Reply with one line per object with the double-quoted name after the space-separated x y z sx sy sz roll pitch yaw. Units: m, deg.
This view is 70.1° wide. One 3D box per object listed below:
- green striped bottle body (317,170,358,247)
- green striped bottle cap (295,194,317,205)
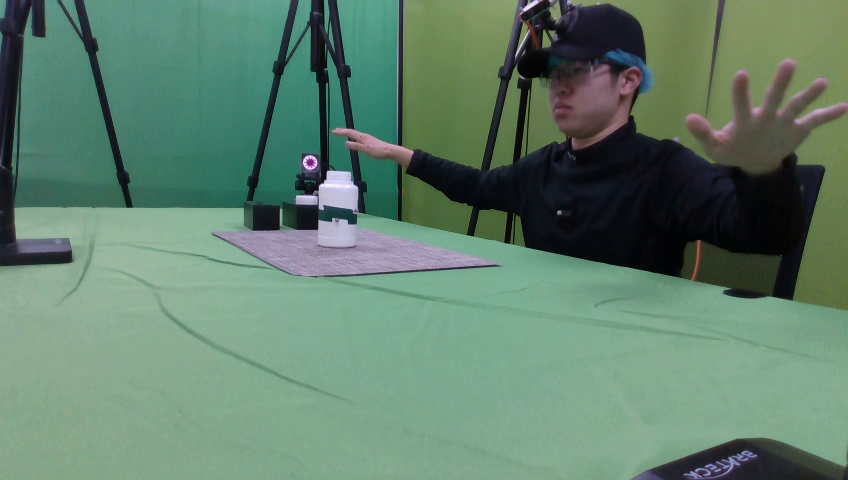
-0.138 -0.051 0.964 0.063 0.119 0.063 2 7 0 "green striped bottle body"
-0.240 -0.082 1.228 0.044 0.020 0.044 1 5 0 "green striped bottle cap"
